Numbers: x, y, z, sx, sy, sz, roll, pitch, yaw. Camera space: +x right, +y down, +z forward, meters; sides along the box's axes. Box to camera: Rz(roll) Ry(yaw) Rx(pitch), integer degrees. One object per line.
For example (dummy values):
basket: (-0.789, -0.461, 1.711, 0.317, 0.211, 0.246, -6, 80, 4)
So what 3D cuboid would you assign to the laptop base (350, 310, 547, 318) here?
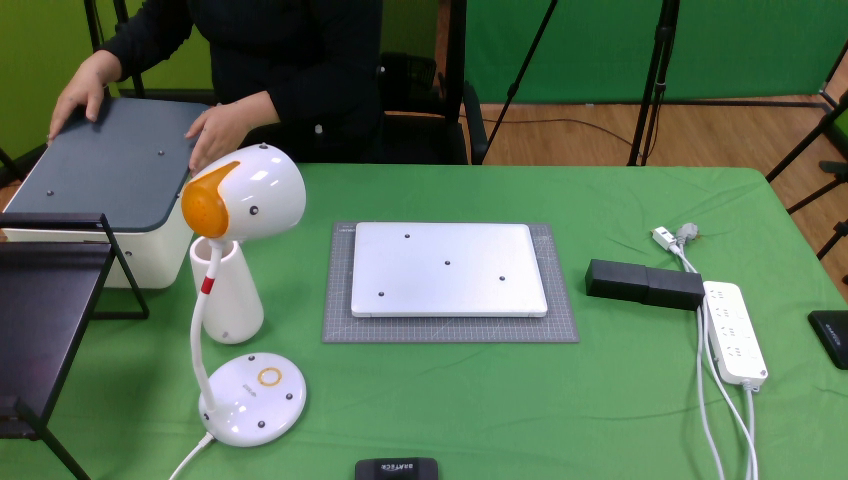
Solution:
laptop base: (0.041, 0.056, 1.149, 0.355, 0.023, 0.234, 0, 42, -4)

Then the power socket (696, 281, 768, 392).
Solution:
power socket: (0.543, 0.161, 1.077, 0.072, 0.033, 0.225, 6, 46, 2)

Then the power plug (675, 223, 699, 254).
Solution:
power plug: (0.537, 0.000, 1.244, 0.053, 0.035, 0.072, 18, 82, -17)

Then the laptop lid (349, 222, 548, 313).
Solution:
laptop lid: (0.042, 0.046, 1.142, 0.357, 0.013, 0.240, 2, 44, -3)

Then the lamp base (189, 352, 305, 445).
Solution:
lamp base: (-0.268, 0.196, 0.876, 0.160, 0.181, 0.179, 25, 52, 19)

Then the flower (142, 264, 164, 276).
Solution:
flower: (-0.491, -0.055, 1.173, 0.044, 0.038, 0.359, -39, 34, 18)

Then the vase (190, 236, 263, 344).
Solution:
vase: (-0.317, 0.081, 0.971, 0.098, 0.201, 0.097, 3, 47, -3)

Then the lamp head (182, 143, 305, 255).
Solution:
lamp head: (-0.216, -0.044, 0.697, 0.112, 0.113, 0.123, 23, 31, 17)

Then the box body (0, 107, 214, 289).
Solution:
box body: (-0.563, -0.088, 1.139, 0.254, 0.161, 0.361, 2, 46, -3)

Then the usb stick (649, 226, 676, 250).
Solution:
usb stick: (0.485, -0.008, 1.237, 0.021, 0.027, 0.059, -22, 44, -13)

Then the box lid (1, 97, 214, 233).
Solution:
box lid: (-0.548, -0.145, 1.087, 0.263, 0.015, 0.369, 2, 46, -2)

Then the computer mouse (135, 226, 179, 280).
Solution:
computer mouse: (-0.492, 0.020, 1.118, 0.063, 0.041, 0.116, 1, 54, -9)

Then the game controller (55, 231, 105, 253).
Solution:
game controller: (-0.598, 0.010, 1.115, 0.155, 0.052, 0.096, 0, 51, -2)
